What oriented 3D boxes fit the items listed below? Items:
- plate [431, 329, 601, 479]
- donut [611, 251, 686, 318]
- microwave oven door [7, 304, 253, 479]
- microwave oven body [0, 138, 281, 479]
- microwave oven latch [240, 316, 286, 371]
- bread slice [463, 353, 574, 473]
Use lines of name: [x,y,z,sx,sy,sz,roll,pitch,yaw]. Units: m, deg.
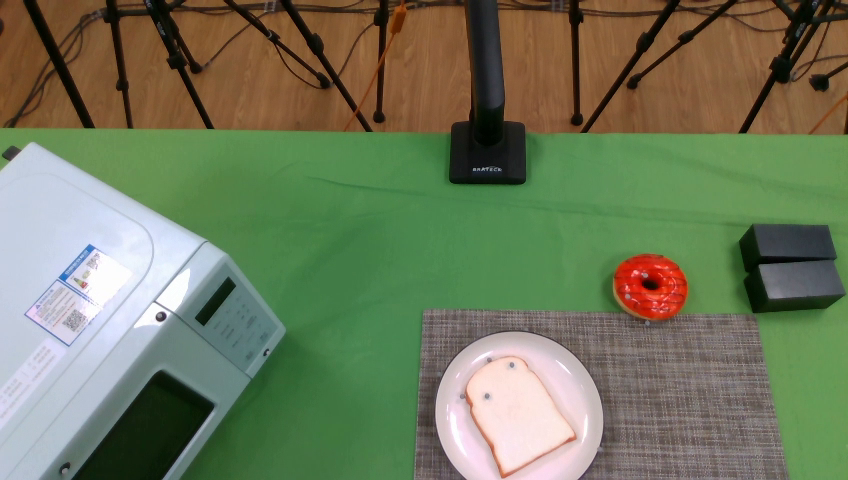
plate: [0.113,0.215,0.758,0.207,0.039,0.206,-1,63,3]
donut: [0.305,0.060,0.825,0.099,0.049,0.098,-3,59,6]
microwave oven door: [-0.338,0.255,0.636,0.039,0.246,0.354,26,67,17]
microwave oven body: [-0.441,0.162,0.696,0.324,0.262,0.440,27,68,16]
microwave oven latch: [-0.217,0.133,0.806,0.030,0.030,0.079,29,69,17]
bread slice: [0.110,0.209,0.762,0.105,0.019,0.130,-26,64,-10]
